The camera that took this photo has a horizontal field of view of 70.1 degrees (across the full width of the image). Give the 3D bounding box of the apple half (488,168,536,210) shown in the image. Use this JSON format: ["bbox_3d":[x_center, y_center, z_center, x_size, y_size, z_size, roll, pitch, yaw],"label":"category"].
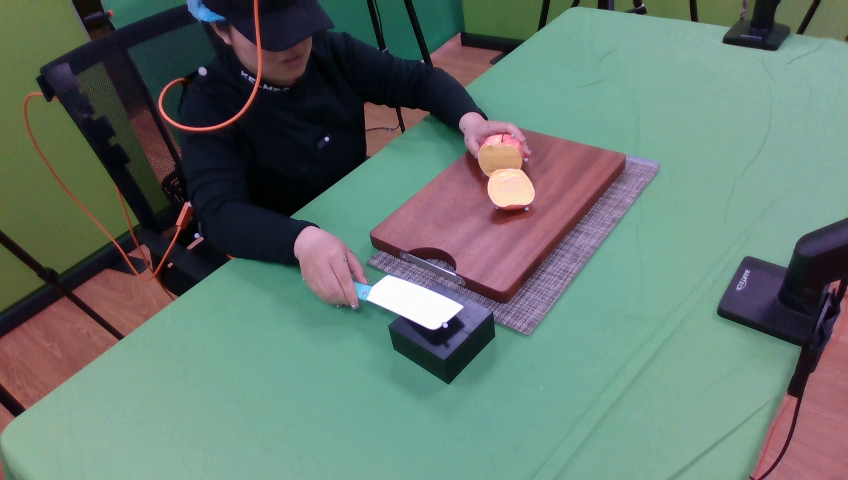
[{"bbox_3d":[0.142,-0.080,0.995,0.081,0.033,0.081,1,63,-1],"label":"apple half"}]

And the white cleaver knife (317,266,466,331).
[{"bbox_3d":[-0.056,0.077,0.871,0.284,0.021,0.066,17,38,43],"label":"white cleaver knife"}]

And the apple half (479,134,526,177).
[{"bbox_3d":[0.140,-0.150,1.054,0.080,0.075,0.053,4,38,21],"label":"apple half"}]
